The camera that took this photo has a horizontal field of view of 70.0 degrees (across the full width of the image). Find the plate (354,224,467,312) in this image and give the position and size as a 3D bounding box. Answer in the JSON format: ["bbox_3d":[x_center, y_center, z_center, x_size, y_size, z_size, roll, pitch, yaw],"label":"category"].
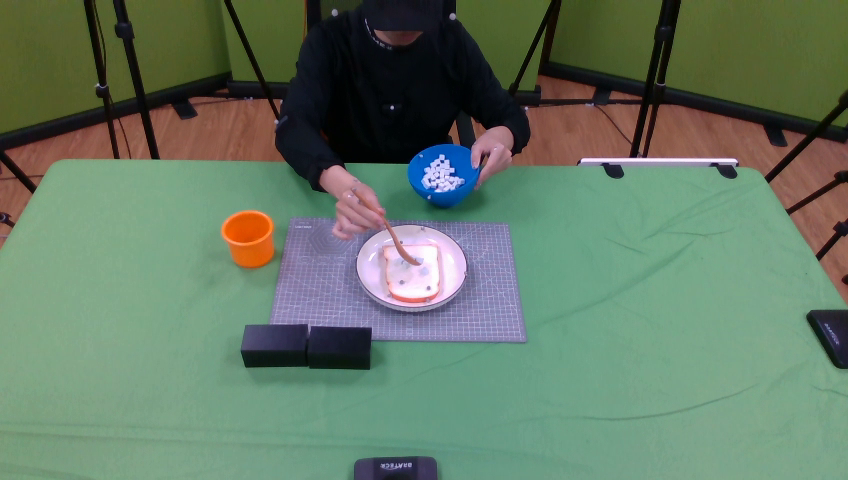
[{"bbox_3d":[-0.025,0.055,1.128,0.209,0.038,0.208,3,46,-2],"label":"plate"}]

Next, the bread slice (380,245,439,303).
[{"bbox_3d":[-0.022,0.061,1.126,0.107,0.018,0.133,-4,45,-8],"label":"bread slice"}]

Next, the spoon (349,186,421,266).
[{"bbox_3d":[-0.068,-0.022,1.065,0.021,0.194,0.041,-40,22,-9],"label":"spoon"}]

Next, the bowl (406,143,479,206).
[{"bbox_3d":[0.042,-0.123,1.260,0.151,0.077,0.150,-5,49,6],"label":"bowl"}]
